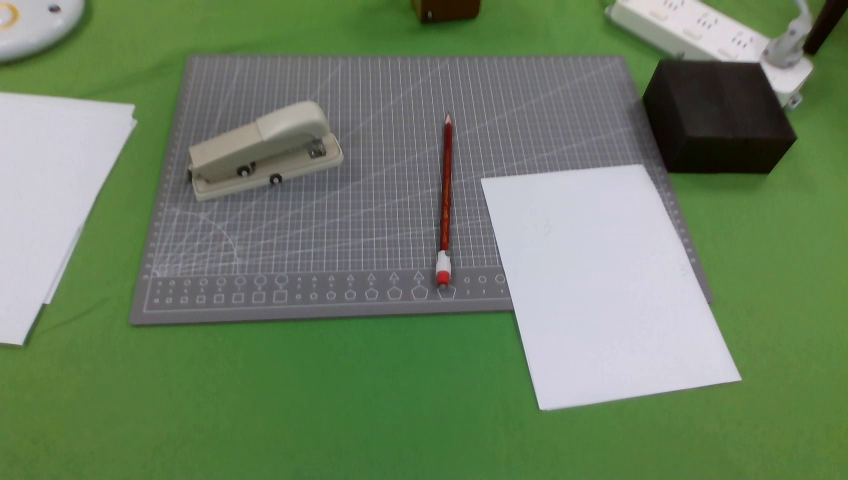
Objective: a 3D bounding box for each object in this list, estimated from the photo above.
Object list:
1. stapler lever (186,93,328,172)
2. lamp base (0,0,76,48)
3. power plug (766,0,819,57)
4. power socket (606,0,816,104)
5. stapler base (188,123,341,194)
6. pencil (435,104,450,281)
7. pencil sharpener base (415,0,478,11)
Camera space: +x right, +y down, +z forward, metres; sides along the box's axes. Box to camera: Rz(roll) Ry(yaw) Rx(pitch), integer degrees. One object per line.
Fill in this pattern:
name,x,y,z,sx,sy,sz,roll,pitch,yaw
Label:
stapler lever,-0.138,-0.090,0.500,0.118,0.040,0.026,-18,59,-14
lamp base,-0.436,-0.296,0.547,0.161,0.182,0.177,-30,62,-21
power plug,0.376,-0.207,0.610,0.072,0.053,0.035,-31,64,-20
power socket,0.302,-0.221,0.642,0.225,0.033,0.072,40,63,20
stapler base,-0.137,-0.078,0.521,0.131,0.024,0.041,-19,59,-13
pencil,0.018,-0.050,0.523,0.012,0.012,0.192,4,56,-1
pencil sharpener base,0.020,-0.301,0.627,0.077,0.108,0.061,-11,59,-10
